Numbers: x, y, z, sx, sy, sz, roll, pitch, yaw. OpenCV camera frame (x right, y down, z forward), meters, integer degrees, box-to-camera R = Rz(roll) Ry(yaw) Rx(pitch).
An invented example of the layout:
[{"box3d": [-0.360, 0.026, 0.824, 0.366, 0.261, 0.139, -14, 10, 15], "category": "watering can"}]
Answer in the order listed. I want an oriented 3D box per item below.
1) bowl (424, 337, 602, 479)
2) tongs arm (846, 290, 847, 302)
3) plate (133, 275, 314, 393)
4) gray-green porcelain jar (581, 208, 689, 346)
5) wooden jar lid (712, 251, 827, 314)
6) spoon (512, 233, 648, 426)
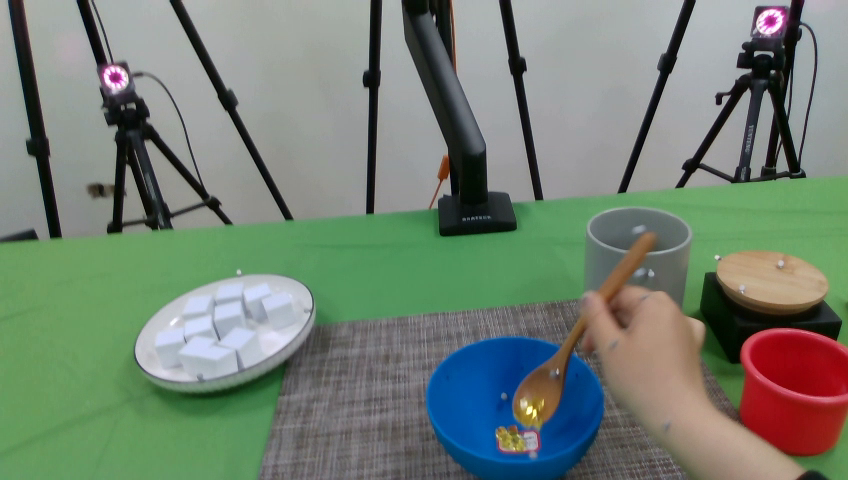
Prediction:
[{"box3d": [0.078, 0.162, 0.533, 0.151, 0.077, 0.150, -4, 29, 3], "category": "bowl"}, {"box3d": [0.454, 0.154, 0.539, 0.028, 0.028, 0.385, 4, 30, 12], "category": "tongs arm"}, {"box3d": [-0.233, 0.112, 0.724, 0.209, 0.038, 0.207, -5, 29, 3], "category": "plate"}, {"box3d": [0.228, 0.044, 0.668, 0.106, 0.127, 0.105, -4, 29, 3], "category": "gray-green porcelain jar"}, {"box3d": [0.369, 0.046, 0.653, 0.108, 0.021, 0.107, -5, 29, 3], "category": "wooden jar lid"}, {"box3d": [0.124, 0.076, 0.490, 0.022, 0.194, 0.041, 6, 31, -34], "category": "spoon"}]
